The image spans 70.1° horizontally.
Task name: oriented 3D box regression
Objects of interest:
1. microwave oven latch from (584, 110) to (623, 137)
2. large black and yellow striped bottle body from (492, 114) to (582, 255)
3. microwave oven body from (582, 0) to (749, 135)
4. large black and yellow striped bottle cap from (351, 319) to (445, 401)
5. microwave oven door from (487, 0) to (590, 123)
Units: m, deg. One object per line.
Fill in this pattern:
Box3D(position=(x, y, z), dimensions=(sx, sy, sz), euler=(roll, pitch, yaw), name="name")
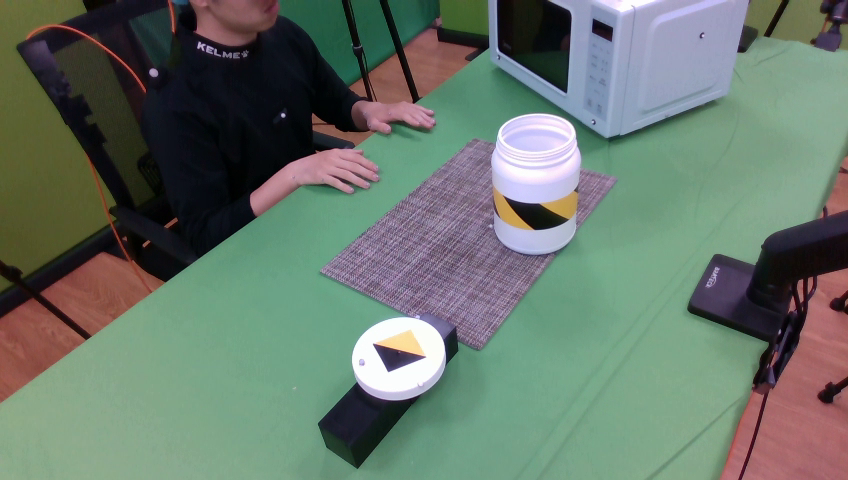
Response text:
Box3D(position=(0.337, -0.222, 1.142), dimensions=(0.030, 0.029, 0.078), euler=(-21, 42, -14), name="microwave oven latch")
Box3D(position=(0.169, -0.084, 0.912), dimensions=(0.131, 0.185, 0.130), euler=(-4, 41, 4), name="large black and yellow striped bottle body")
Box3D(position=(0.382, -0.444, 1.246), dimensions=(0.327, 0.261, 0.437), euler=(-22, 42, -16), name="microwave oven body")
Box3D(position=(-0.031, 0.143, 0.735), dimensions=(0.115, 0.019, 0.114), euler=(-3, 40, 3), name="large black and yellow striped bottle cap")
Box3D(position=(0.232, -0.420, 1.230), dimensions=(0.039, 0.245, 0.352), euler=(-22, 43, -16), name="microwave oven door")
